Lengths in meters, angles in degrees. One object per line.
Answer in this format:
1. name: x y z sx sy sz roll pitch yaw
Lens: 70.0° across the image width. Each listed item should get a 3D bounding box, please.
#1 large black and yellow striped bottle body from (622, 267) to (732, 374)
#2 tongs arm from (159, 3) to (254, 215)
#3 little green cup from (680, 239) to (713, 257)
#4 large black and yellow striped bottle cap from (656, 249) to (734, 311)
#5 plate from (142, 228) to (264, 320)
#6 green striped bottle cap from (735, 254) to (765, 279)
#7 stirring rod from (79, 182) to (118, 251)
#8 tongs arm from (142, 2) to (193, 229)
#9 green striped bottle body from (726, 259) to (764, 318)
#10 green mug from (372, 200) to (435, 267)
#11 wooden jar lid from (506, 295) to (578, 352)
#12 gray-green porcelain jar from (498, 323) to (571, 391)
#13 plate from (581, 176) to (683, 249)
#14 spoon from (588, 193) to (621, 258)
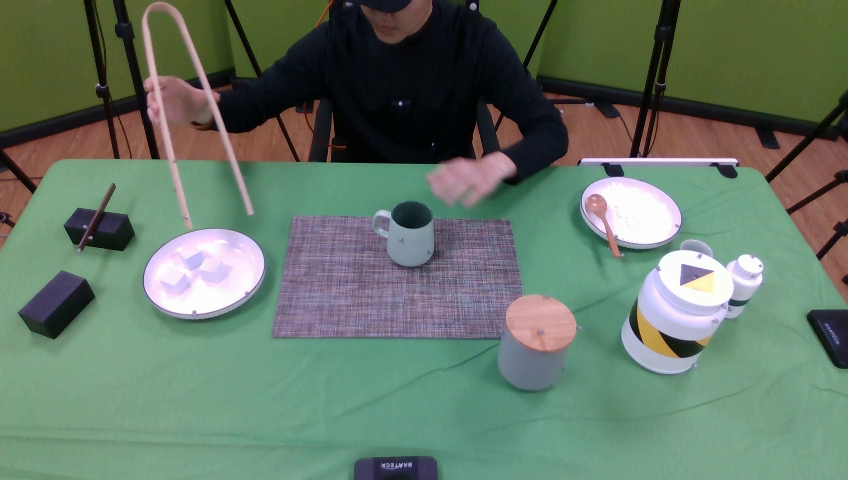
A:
1. large black and yellow striped bottle body: 0.415 0.119 0.997 0.131 0.185 0.130 2 46 -2
2. tongs arm: -0.378 -0.226 1.071 0.028 0.388 0.027 -24 9 -28
3. little green cup: 0.530 0.033 1.189 0.061 0.039 0.061 2 48 -2
4. large black and yellow striped bottle cap: 0.419 0.061 0.938 0.115 0.019 0.114 2 47 -2
5. plate: -0.394 0.064 1.095 0.208 0.039 0.206 2 46 -2
6. green striped bottle cap: 0.566 0.046 1.051 0.044 0.020 0.044 0 45 0
7. stirring rod: -0.605 -0.047 1.130 0.006 0.014 0.175 0 47 1
8. tongs arm: -0.427 -0.210 1.037 0.051 0.385 0.026 -16 5 -32
9. green striped bottle body: 0.563 0.081 1.089 0.063 0.120 0.063 2 46 -2
10. green mug: -0.040 -0.016 1.146 0.125 0.105 0.092 17 48 13
11. wooden jar lid: 0.179 0.130 0.925 0.108 0.021 0.107 2 43 -2
12. gray-green porcelain jar: 0.176 0.172 0.971 0.106 0.127 0.105 2 46 -2
13. plate: 0.430 -0.054 1.267 0.209 0.038 0.208 2 46 -2
14. spoon: 0.367 -0.032 1.220 0.041 0.022 0.192 1 38 -1
